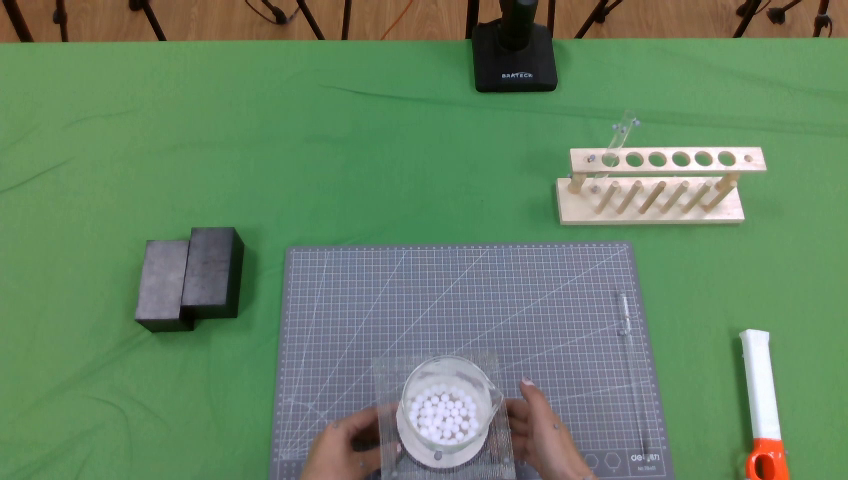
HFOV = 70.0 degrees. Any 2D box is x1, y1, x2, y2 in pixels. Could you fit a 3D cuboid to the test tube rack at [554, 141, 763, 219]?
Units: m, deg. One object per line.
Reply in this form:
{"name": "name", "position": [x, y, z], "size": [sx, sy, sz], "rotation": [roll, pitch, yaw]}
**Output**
{"name": "test tube rack", "position": [0.301, -0.076, 0.786], "size": [0.242, 0.086, 0.066], "rotation": [-1, 66, -2]}

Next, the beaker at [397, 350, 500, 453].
{"name": "beaker", "position": [0.019, 0.144, 0.527], "size": [0.084, 0.101, 0.073], "rotation": [-6, 66, -4]}

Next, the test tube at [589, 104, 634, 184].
{"name": "test tube", "position": [0.228, -0.113, 0.746], "size": [0.017, 0.151, 0.017], "rotation": [0, 63, 0]}

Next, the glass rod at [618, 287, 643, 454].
{"name": "glass rod", "position": [0.246, 0.151, 0.723], "size": [0.008, 0.008, 0.198], "rotation": [0, 69, -2]}

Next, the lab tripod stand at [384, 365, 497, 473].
{"name": "lab tripod stand", "position": [0.014, 0.190, 0.632], "size": [0.148, 0.132, 0.147], "rotation": [0, 66, 1]}

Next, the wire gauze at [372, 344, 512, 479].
{"name": "wire gauze", "position": [0.015, 0.160, 0.572], "size": [0.125, 0.011, 0.120], "rotation": [-4, 64, -1]}

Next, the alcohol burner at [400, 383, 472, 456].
{"name": "alcohol burner", "position": [0.014, 0.187, 0.643], "size": [0.078, 0.120, 0.077], "rotation": [1, 65, -2]}

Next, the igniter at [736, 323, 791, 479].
{"name": "igniter", "position": [0.386, 0.229, 0.687], "size": [0.057, 0.025, 0.274], "rotation": [10, 66, -8]}
